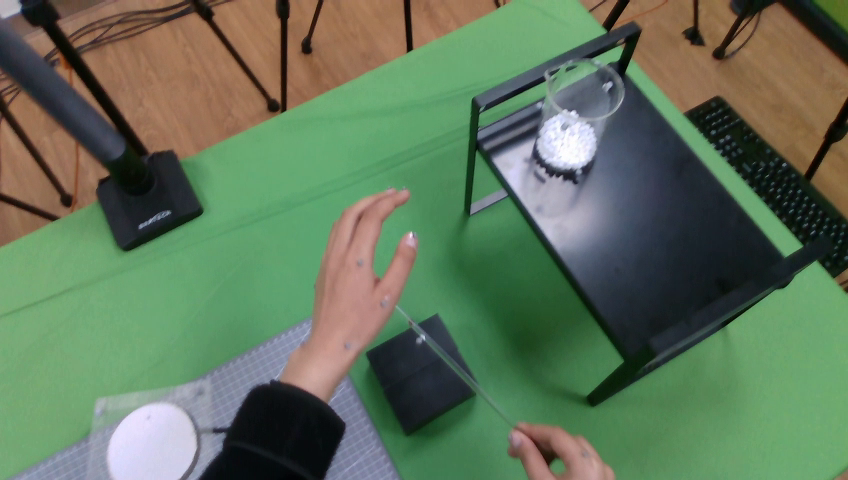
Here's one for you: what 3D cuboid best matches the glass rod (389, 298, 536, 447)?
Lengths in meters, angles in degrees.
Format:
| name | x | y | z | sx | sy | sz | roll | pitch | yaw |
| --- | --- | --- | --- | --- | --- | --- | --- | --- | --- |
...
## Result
| name | x | y | z | sx | sy | sz | roll | pitch | yaw |
| --- | --- | --- | --- | --- | --- | --- | --- | --- | --- |
| glass rod | 0.034 | 0.126 | 0.591 | 0.008 | 0.008 | 0.198 | -41 | 74 | -16 |

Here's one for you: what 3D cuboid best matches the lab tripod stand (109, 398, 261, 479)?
| name | x | y | z | sx | sy | sz | roll | pitch | yaw |
| --- | --- | --- | --- | --- | --- | --- | --- | --- | --- |
| lab tripod stand | -0.261 | 0.225 | 0.656 | 0.148 | 0.132 | 0.147 | 0 | 64 | 1 |

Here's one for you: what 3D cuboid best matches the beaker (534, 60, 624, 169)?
| name | x | y | z | sx | sy | sz | roll | pitch | yaw |
| --- | --- | --- | --- | --- | --- | --- | --- | --- | --- |
| beaker | 0.154 | -0.127 | 0.633 | 0.083 | 0.101 | 0.074 | 34 | 70 | 16 |

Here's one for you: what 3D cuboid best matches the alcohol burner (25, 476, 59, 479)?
| name | x | y | z | sx | sy | sz | roll | pitch | yaw |
| --- | --- | --- | --- | --- | --- | --- | --- | --- | --- |
| alcohol burner | -0.422 | 0.288 | 0.640 | 0.078 | 0.120 | 0.077 | 0 | 64 | -1 |

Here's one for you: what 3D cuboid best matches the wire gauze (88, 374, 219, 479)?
| name | x | y | z | sx | sy | sz | roll | pitch | yaw |
| --- | --- | --- | --- | --- | --- | --- | --- | --- | --- |
| wire gauze | -0.264 | 0.200 | 0.594 | 0.125 | 0.011 | 0.120 | -8 | 66 | -3 |
